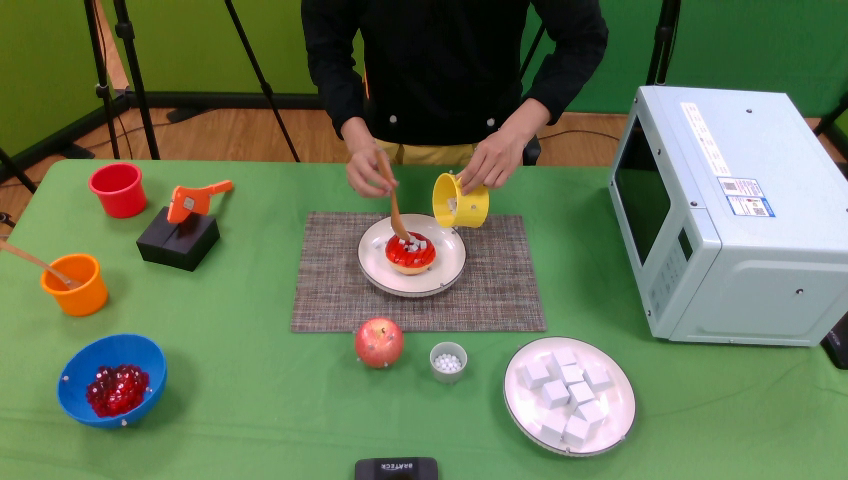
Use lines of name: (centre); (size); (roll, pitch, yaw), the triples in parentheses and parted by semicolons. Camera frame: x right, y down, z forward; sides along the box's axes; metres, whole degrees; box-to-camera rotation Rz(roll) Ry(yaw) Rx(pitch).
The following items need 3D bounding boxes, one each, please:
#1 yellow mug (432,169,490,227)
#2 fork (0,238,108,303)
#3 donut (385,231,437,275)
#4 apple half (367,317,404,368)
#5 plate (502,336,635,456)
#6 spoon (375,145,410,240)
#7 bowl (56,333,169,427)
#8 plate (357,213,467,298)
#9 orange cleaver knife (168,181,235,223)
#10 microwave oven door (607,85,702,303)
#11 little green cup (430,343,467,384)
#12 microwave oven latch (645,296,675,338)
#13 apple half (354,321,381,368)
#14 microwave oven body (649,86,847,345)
yellow mug: (0.070, -0.082, 1.088); (0.064, 0.131, 0.099); (-2, 55, -27)
fork: (-0.633, 0.048, 1.017); (0.208, 0.018, 0.028); (40, 41, -27)
donut: (-0.025, 0.024, 1.141); (0.099, 0.048, 0.098); (3, 44, -3)
apple half: (-0.061, 0.167, 0.998); (0.053, 0.075, 0.080); (-11, 44, -20)
plate: (0.225, 0.248, 0.963); (0.208, 0.039, 0.206); (2, 46, -2)
spoon: (-0.056, -0.078, 1.040); (0.021, 0.195, 0.041); (-31, 37, -28)
bowl: (-0.456, 0.223, 0.911); (0.151, 0.077, 0.150); (3, 46, -2)
plate: (-0.023, 0.032, 1.150); (0.209, 0.038, 0.208); (2, 46, -2)
orange cleaver knife: (-0.436, -0.078, 1.196); (0.012, 0.077, 0.211); (16, 15, 10)
microwave oven door: (0.423, -0.094, 1.140); (0.039, 0.245, 0.353); (2, 46, -1)
little green cup: (0.039, 0.203, 0.994); (0.061, 0.039, 0.061); (2, 46, -2)
microwave oven latch: (0.412, 0.134, 1.061); (0.030, 0.029, 0.078); (3, 45, 0)
apple half: (-0.097, 0.176, 0.985); (0.033, 0.081, 0.080); (-12, 48, -20)
microwave oven body: (0.568, -0.053, 1.118); (0.326, 0.261, 0.439); (2, 45, -1)
